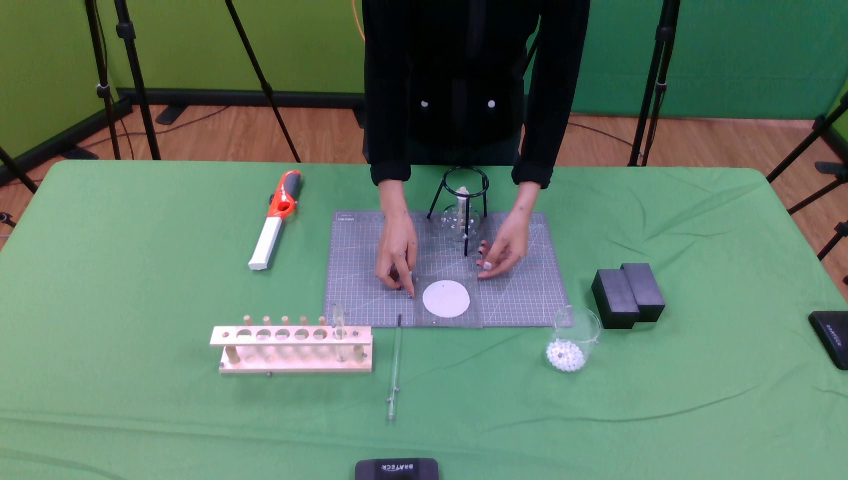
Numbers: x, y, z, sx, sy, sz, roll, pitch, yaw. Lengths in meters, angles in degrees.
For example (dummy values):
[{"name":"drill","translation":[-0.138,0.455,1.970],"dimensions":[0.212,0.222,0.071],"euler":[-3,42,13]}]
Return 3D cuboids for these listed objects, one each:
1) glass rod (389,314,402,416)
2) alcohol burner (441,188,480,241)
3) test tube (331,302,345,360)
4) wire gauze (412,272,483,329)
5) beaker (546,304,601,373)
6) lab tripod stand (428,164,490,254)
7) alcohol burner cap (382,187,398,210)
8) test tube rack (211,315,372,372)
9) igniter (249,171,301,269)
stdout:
[{"name":"glass rod","translation":[-0.048,0.203,1.007],"dimensions":[0.008,0.008,0.198],"euler":[4,45,0]},{"name":"alcohol burner","translation":[0.073,-0.055,1.189],"dimensions":[0.078,0.120,0.077],"euler":[1,47,-1]},{"name":"test tube","translation":[-0.132,0.144,0.938],"dimensions":[0.017,0.151,0.017],"euler":[2,49,-3]},{"name":"wire gauze","translation":[0.041,0.108,1.103],"dimensions":[0.125,0.011,0.120],"euler":[1,50,-2]},{"name":"beaker","translation":[0.242,0.167,1.001],"dimensions":[0.084,0.101,0.073],"euler":[-32,55,-28]},{"name":"lab tripod stand","translation":[0.078,-0.067,1.187],"dimensions":[0.148,0.132,0.147],"euler":[3,47,-3]},{"name":"alcohol burner cap","translation":[-0.072,-0.090,1.266],"dimensions":[0.034,0.048,0.033],"euler":[2,47,-2]},{"name":"test tube rack","translation":[-0.208,0.163,0.982],"dimensions":[0.242,0.085,0.066],"euler":[1,46,-4]},{"name":"igniter","translation":[-0.297,-0.049,1.220],"dimensions":[0.057,0.025,0.275],"euler":[-2,45,9]}]
